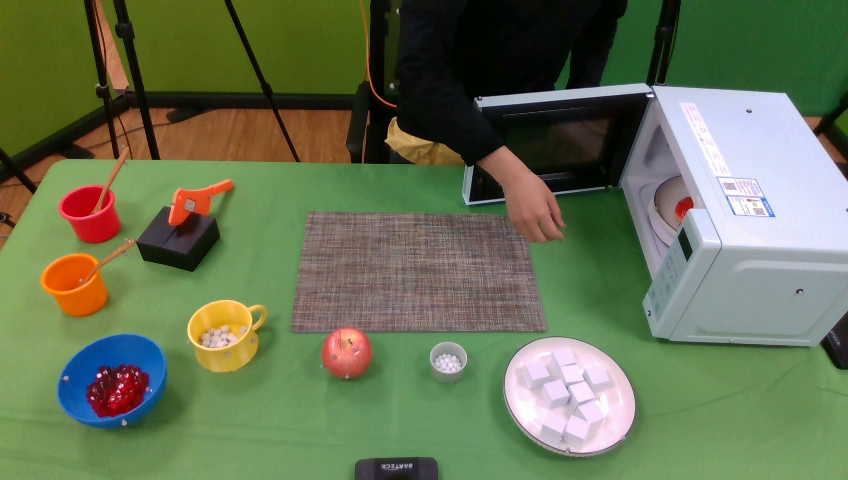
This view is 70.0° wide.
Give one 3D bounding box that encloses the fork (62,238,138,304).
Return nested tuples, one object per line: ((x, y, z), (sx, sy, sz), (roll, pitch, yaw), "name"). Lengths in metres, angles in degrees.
((-0.547, 0.053, 1.018), (0.207, 0.019, 0.028), (-36, 41, 23), "fork")

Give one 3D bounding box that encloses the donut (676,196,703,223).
((0.538, -0.049, 1.171), (0.099, 0.048, 0.098), (2, 43, -2), "donut")

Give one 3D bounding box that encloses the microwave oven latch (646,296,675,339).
((0.412, 0.134, 1.061), (0.030, 0.029, 0.078), (4, 45, 1), "microwave oven latch")

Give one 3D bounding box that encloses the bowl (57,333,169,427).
((-0.456, 0.223, 0.912), (0.151, 0.077, 0.150), (3, 45, -2), "bowl")

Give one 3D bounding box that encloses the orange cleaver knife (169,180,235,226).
((-0.436, -0.076, 1.199), (0.012, 0.077, 0.211), (17, 17, 9), "orange cleaver knife")

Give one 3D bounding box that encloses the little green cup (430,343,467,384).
((0.039, 0.203, 0.994), (0.061, 0.039, 0.061), (2, 46, -2), "little green cup")

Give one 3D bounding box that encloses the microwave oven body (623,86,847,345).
((0.567, -0.053, 1.118), (0.326, 0.261, 0.439), (2, 45, -1), "microwave oven body")

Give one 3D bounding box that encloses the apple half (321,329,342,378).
((-0.149, 0.186, 0.972), (0.033, 0.081, 0.080), (-2, 46, -13), "apple half")

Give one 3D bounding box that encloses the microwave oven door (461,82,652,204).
((0.261, -0.194, 1.225), (0.356, 0.245, 0.039), (-7, 47, -11), "microwave oven door")

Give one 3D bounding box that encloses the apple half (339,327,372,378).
((-0.111, 0.182, 0.980), (0.053, 0.075, 0.080), (-2, 42, -12), "apple half")

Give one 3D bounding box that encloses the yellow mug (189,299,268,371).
((-0.316, 0.148, 1.002), (0.131, 0.064, 0.099), (-33, 56, -31), "yellow mug")

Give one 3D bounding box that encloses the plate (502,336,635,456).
((0.225, 0.248, 0.963), (0.208, 0.039, 0.206), (2, 46, -2), "plate")

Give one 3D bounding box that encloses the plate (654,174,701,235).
((0.555, -0.049, 1.186), (0.209, 0.038, 0.208), (2, 46, -1), "plate")

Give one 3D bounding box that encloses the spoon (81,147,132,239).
((-0.603, -0.089, 1.156), (0.041, 0.022, 0.193), (28, 94, 18), "spoon")
